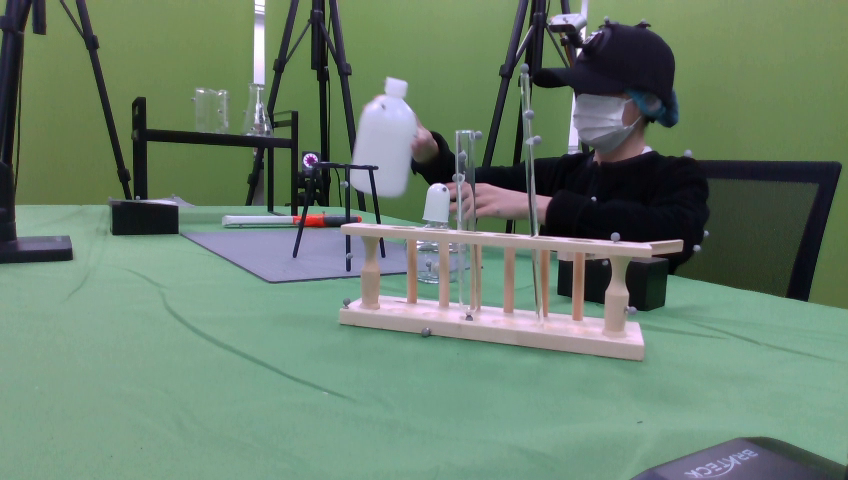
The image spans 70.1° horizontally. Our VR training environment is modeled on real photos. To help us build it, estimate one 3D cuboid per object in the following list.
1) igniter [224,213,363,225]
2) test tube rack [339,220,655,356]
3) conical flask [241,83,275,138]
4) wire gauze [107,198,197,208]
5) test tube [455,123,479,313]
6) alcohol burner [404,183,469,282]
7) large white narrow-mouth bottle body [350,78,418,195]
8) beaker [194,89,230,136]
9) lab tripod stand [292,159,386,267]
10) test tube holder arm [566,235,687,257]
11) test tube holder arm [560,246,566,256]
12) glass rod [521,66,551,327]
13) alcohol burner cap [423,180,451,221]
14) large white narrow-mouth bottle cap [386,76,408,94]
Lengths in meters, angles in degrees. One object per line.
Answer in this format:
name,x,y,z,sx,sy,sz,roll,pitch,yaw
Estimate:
igniter,-0.255,-0.041,1.210,0.278,0.025,0.057,-2,-2,-31
test tube rack,0.056,0.032,0.495,0.242,0.085,0.067,4,7,15
conical flask,-0.383,-0.297,1.392,0.075,0.122,0.075,2,7,0
wire gauze,-0.462,-0.064,1.023,0.126,0.011,0.121,-2,7,-32
test tube,0.034,-0.016,0.476,0.017,0.150,0.017,-2,10,1
alcohol burner,0.015,-0.011,0.715,0.078,0.119,0.078,0,7,0
large white narrow-mouth bottle body,-0.063,-0.181,1.046,0.102,0.194,0.101,12,15,-3
beaker,-0.472,-0.283,1.352,0.074,0.100,0.083,-4,10,-35
lab tripod stand,-0.105,-0.039,0.798,0.148,0.131,0.148,2,5,0
test tube holder arm,0.215,0.006,0.629,0.179,0.015,0.013,-3,9,-30
test tube holder arm,0.173,0.007,0.611,0.088,0.015,0.010,-3,9,-30
glass rod,0.085,-0.028,0.454,0.008,0.199,0.008,-7,10,1
alcohol burner cap,0.017,-0.047,0.711,0.034,0.048,0.034,8,5,0
large white narrow-mouth bottle cap,-0.045,-0.261,1.023,0.038,0.024,0.037,12,15,-3
